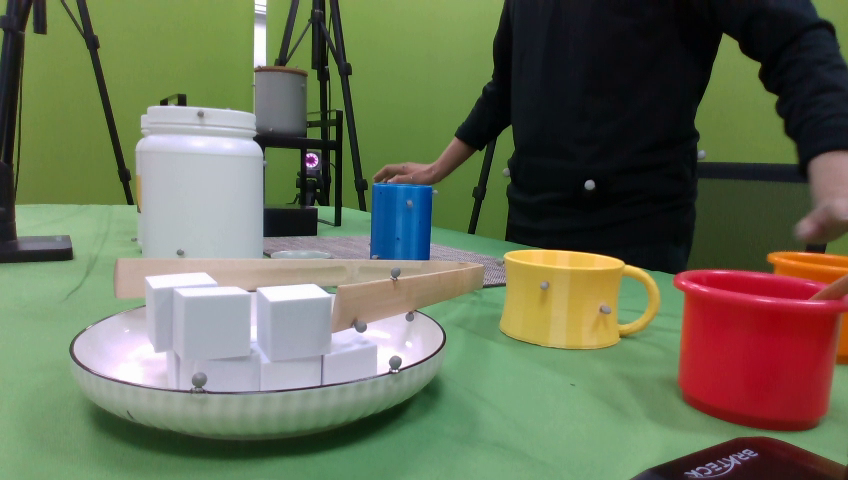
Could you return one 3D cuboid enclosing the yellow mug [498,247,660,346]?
[{"bbox_3d":[0.130,0.045,0.508,0.131,0.064,0.100,4,7,6],"label":"yellow mug"}]

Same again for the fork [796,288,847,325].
[{"bbox_3d":[0.324,0.018,0.441,0.028,0.018,0.207,-3,-36,-5],"label":"fork"}]

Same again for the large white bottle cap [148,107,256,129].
[{"bbox_3d":[-0.250,-0.137,0.686,0.115,0.018,0.115,3,8,0],"label":"large white bottle cap"}]

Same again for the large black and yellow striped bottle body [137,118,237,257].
[{"bbox_3d":[-0.330,-0.075,0.849,0.131,0.184,0.130,2,8,0],"label":"large black and yellow striped bottle body"}]

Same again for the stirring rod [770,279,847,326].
[{"bbox_3d":[0.349,0.022,0.468,0.014,0.006,0.175,-12,-26,-50],"label":"stirring rod"}]

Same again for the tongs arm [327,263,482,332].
[{"bbox_3d":[-0.003,0.036,0.493,0.050,0.026,0.386,1,0,19],"label":"tongs arm"}]

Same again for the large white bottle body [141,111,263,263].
[{"bbox_3d":[-0.254,-0.053,0.697,0.131,0.184,0.130,2,7,0],"label":"large white bottle body"}]

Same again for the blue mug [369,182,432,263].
[{"bbox_3d":[-0.027,-0.026,0.835,0.082,0.106,0.117,5,7,19],"label":"blue mug"}]

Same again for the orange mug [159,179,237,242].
[{"bbox_3d":[-0.368,-0.051,0.991,0.127,0.101,0.083,-10,14,-41],"label":"orange mug"}]

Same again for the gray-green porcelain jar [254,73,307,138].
[{"bbox_3d":[-0.298,-0.277,1.259,0.106,0.126,0.106,3,8,0],"label":"gray-green porcelain jar"}]

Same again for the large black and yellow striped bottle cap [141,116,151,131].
[{"bbox_3d":[-0.328,-0.158,0.837,0.115,0.019,0.115,2,6,0],"label":"large black and yellow striped bottle cap"}]

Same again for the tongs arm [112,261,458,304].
[{"bbox_3d":[-0.080,0.032,0.527,0.028,0.027,0.389,-3,-3,33],"label":"tongs arm"}]

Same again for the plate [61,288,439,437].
[{"bbox_3d":[-0.095,0.069,0.362,0.208,0.039,0.207,3,7,0],"label":"plate"}]

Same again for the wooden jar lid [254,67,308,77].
[{"bbox_3d":[-0.296,-0.339,1.251,0.108,0.020,0.108,2,7,0],"label":"wooden jar lid"}]

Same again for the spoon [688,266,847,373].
[{"bbox_3d":[0.216,0.032,0.327,0.042,0.021,0.193,1,-37,-24],"label":"spoon"}]

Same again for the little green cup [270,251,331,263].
[{"bbox_3d":[-0.129,0.034,0.629,0.061,0.038,0.061,2,6,0],"label":"little green cup"}]
